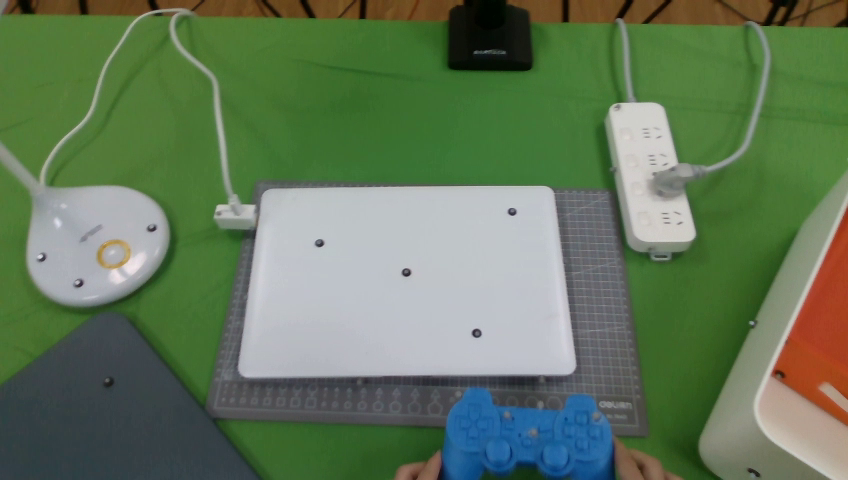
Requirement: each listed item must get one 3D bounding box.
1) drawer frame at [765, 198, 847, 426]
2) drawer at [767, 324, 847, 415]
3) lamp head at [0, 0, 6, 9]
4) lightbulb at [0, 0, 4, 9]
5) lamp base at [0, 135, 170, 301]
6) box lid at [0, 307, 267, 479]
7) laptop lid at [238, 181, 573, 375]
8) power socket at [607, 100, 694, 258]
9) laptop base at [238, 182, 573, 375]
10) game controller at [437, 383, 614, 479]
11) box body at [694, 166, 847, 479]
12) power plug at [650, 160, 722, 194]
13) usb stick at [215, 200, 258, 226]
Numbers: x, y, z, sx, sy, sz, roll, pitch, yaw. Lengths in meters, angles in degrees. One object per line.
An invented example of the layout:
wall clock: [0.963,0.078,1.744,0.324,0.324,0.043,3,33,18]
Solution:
drawer frame: [0.469,0.087,0.611,0.200,0.083,0.213,37,63,18]
drawer: [0.473,0.086,0.609,0.193,0.074,0.211,36,69,20]
lamp head: [-0.346,-0.190,0.380,0.123,0.112,0.112,29,62,-10]
lightbulb: [-0.314,-0.186,0.378,0.059,0.059,0.108,-37,106,-18]
lamp base: [-0.392,-0.044,0.646,0.178,0.182,0.160,26,64,18]
box lid: [-0.311,0.255,0.576,0.263,0.015,0.369,-41,69,-19]
laptop lid: [-0.020,0.035,0.677,0.357,0.013,0.239,1,63,1]
power socket: [0.274,-0.085,0.745,0.072,0.033,0.224,1,61,0]
laptop base: [-0.020,0.038,0.689,0.354,0.023,0.233,-1,65,0]
game controller: [0.090,0.179,0.540,0.155,0.052,0.096,2,61,9]
box body: [0.449,0.110,0.561,0.252,0.161,0.363,32,66,17]
power plug: [0.303,-0.067,0.710,0.072,0.053,0.035,11,61,5]
usb stick: [-0.213,-0.032,0.715,0.059,0.027,0.021,3,56,-1]
